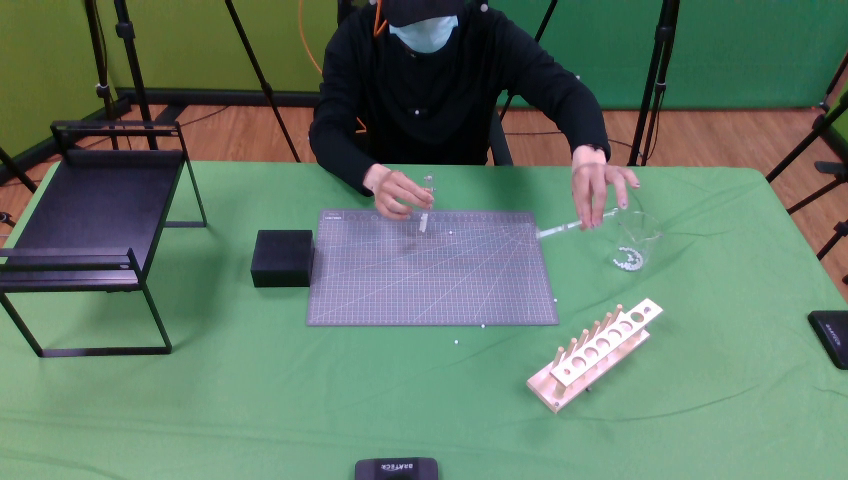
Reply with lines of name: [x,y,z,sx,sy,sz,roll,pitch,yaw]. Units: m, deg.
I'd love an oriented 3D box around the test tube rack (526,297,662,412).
test tube rack: [0.284,0.176,1.007,0.242,0.085,0.066,-29,54,-27]

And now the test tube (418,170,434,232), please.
test tube: [0.003,-0.070,1.138,0.017,0.151,0.017,4,46,-4]

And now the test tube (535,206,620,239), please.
test tube: [0.242,-0.028,0.951,0.150,0.017,0.017,-16,50,-14]

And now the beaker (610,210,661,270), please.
beaker: [0.404,0.005,1.170,0.074,0.101,0.083,19,49,15]
